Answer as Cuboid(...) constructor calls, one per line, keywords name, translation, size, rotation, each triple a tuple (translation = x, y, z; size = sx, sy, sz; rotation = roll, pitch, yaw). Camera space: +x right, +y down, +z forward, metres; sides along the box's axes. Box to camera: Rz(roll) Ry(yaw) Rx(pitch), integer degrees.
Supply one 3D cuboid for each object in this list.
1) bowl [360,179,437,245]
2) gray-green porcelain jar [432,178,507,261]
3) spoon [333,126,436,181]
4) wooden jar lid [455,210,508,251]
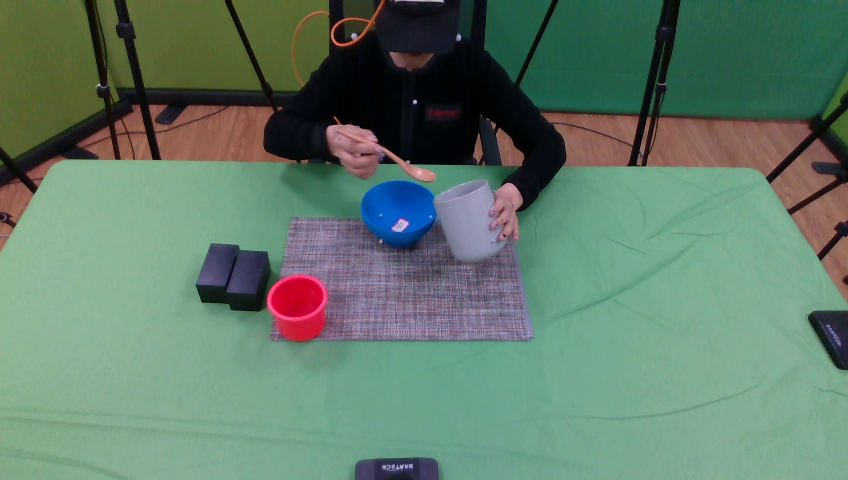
Cuboid(name="bowl", translation=(-0.049, -0.042, 1.190), size=(0.151, 0.077, 0.150), rotation=(2, 46, -2))
Cuboid(name="gray-green porcelain jar", translation=(0.085, -0.033, 1.083), size=(0.106, 0.127, 0.105), rotation=(-20, 16, 6))
Cuboid(name="spoon", translation=(-0.065, -0.148, 1.030), size=(0.194, 0.021, 0.041), rotation=(29, 31, -19))
Cuboid(name="wooden jar lid", translation=(0.115, -0.018, 1.220), size=(0.108, 0.021, 0.107), rotation=(3, 47, -3))
